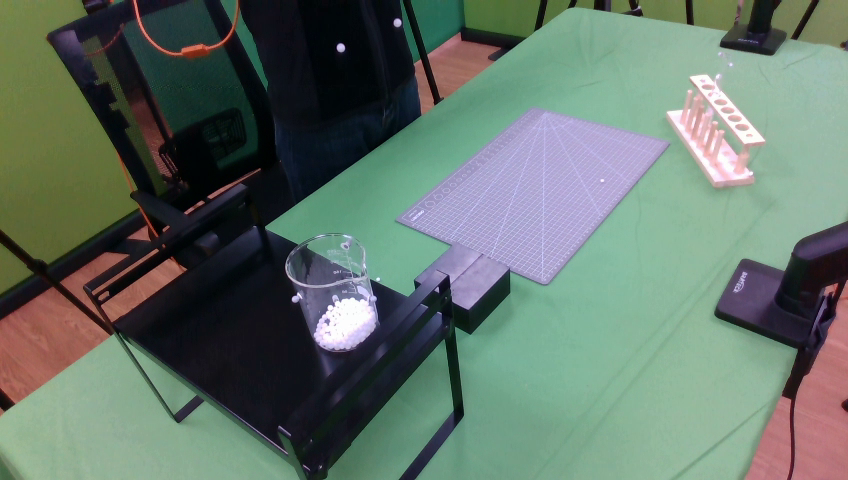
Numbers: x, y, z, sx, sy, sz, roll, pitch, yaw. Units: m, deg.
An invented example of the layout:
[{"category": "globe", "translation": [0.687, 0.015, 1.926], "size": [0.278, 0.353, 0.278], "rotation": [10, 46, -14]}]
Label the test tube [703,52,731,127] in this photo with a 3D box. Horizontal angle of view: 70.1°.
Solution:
[{"category": "test tube", "translation": [0.521, -0.264, 1.078], "size": [0.017, 0.151, 0.017], "rotation": [-4, 47, 5]}]

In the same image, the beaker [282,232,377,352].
[{"category": "beaker", "translation": [-0.084, 0.054, 0.587], "size": [0.083, 0.101, 0.074], "rotation": [17, 47, 25]}]

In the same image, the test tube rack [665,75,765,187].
[{"category": "test tube rack", "translation": [0.512, -0.201, 1.082], "size": [0.067, 0.085, 0.241], "rotation": [-5, 41, 2]}]
